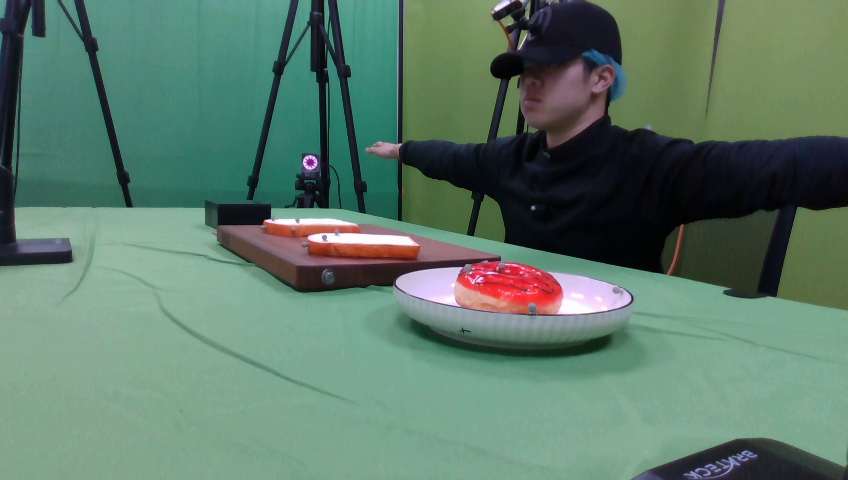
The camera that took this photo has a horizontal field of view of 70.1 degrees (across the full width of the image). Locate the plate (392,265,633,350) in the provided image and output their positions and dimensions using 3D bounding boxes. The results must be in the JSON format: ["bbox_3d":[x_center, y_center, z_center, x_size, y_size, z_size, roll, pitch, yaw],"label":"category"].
[{"bbox_3d":[0.074,0.057,0.533,0.209,0.038,0.209,3,7,0],"label":"plate"}]

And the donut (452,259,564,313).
[{"bbox_3d":[0.074,0.045,0.536,0.099,0.048,0.099,4,8,0],"label":"donut"}]

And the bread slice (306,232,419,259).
[{"bbox_3d":[-0.077,0.006,0.747,0.135,0.018,0.106,2,7,-12],"label":"bread slice"}]

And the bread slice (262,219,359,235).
[{"bbox_3d":[-0.179,-0.021,0.931,0.132,0.019,0.104,-1,7,-35],"label":"bread slice"}]
